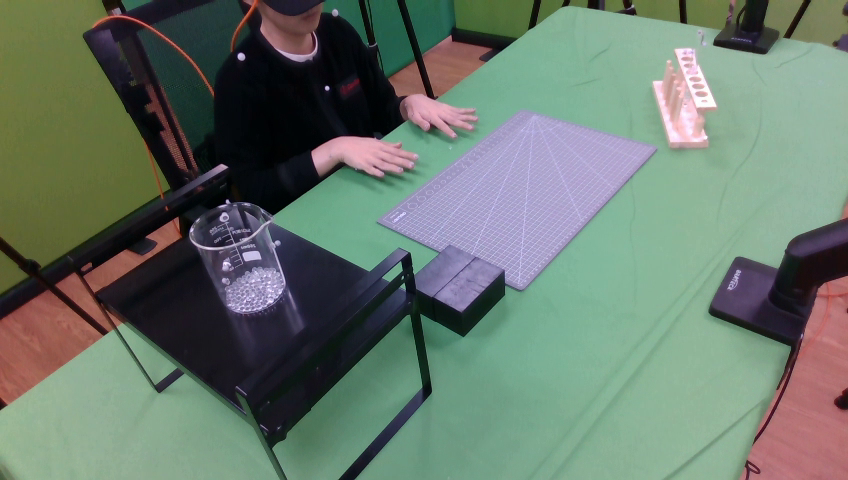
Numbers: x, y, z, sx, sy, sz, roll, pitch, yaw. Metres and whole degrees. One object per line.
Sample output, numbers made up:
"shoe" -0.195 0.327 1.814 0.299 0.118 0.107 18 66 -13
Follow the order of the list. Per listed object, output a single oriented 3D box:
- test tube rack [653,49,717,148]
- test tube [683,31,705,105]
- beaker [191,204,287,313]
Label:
"test tube rack" 0.502 -0.281 1.177 0.066 0.085 0.241 1 41 10
"test tube" 0.512 -0.324 1.149 0.017 0.151 0.017 -5 44 5
"beaker" -0.189 0.021 0.642 0.084 0.101 0.073 -16 41 -11
